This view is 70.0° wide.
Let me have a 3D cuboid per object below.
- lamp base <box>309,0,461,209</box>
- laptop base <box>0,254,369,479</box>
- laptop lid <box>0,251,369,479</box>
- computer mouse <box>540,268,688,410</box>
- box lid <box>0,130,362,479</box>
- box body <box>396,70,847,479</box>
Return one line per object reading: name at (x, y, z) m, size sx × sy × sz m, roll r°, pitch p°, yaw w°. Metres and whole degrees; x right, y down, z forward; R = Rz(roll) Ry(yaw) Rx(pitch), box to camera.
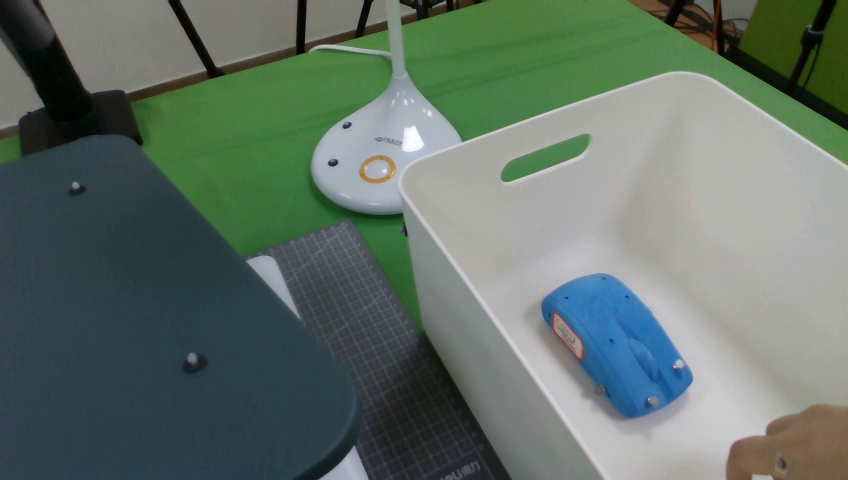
lamp base at (-0.040, -0.151, 0.578) m, size 0.160 × 0.182 × 0.177 m, roll 4°, pitch 45°, yaw 7°
laptop base at (-0.240, 0.150, 0.416) m, size 0.355 × 0.023 × 0.233 m, roll -21°, pitch 53°, yaw -16°
laptop lid at (-0.240, 0.143, 0.406) m, size 0.357 × 0.013 × 0.239 m, roll -20°, pitch 51°, yaw -15°
computer mouse at (0.140, 0.068, 0.452) m, size 0.063 × 0.041 × 0.116 m, roll -20°, pitch 54°, yaw -19°
box lid at (-0.231, 0.045, 0.314) m, size 0.263 × 0.015 × 0.367 m, roll -27°, pitch 44°, yaw -29°
box body at (0.170, 0.077, 0.367) m, size 0.254 × 0.162 × 0.360 m, roll -21°, pitch 49°, yaw -17°
